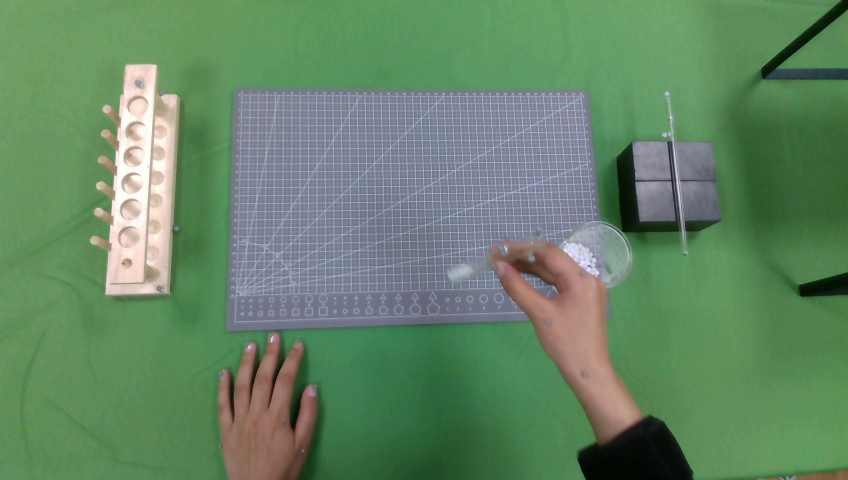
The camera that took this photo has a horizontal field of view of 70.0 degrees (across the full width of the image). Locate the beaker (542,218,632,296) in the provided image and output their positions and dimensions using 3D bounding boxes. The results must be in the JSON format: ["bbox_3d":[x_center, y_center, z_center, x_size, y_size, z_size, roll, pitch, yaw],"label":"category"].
[{"bbox_3d":[0.177,0.024,0.689,0.084,0.100,0.073,1,77,-4],"label":"beaker"}]

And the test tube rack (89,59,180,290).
[{"bbox_3d":[-0.324,-0.070,0.673,0.067,0.085,0.241,-1,78,-5],"label":"test tube rack"}]

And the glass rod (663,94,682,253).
[{"bbox_3d":[0.296,-0.082,0.723,0.008,0.008,0.199,1,78,-5],"label":"glass rod"}]

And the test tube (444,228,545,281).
[{"bbox_3d":[0.058,0.016,0.552,0.017,0.150,0.017,8,71,-26],"label":"test tube"}]
